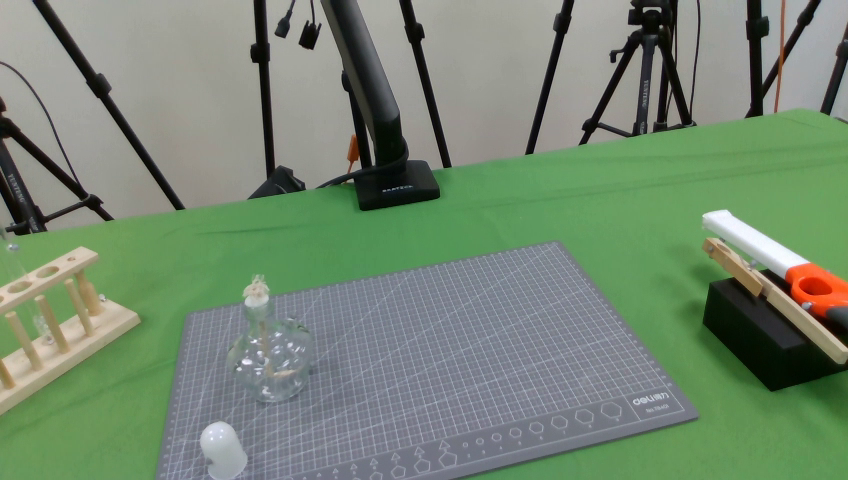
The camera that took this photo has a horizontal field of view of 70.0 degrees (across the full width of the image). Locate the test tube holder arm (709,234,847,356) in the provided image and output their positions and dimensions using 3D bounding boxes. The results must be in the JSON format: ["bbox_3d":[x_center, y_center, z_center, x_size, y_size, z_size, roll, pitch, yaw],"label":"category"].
[{"bbox_3d":[0.313,0.043,0.550,0.013,0.015,0.176,-6,31,-13],"label":"test tube holder arm"}]

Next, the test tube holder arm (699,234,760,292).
[{"bbox_3d":[0.297,0.021,0.586,0.010,0.015,0.087,-6,31,-12],"label":"test tube holder arm"}]

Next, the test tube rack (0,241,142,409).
[{"bbox_3d":[-0.416,0.102,0.597,0.066,0.086,0.242,16,38,30],"label":"test tube rack"}]

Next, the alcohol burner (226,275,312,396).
[{"bbox_3d":[-0.144,0.083,0.553,0.078,0.120,0.077,-4,30,3],"label":"alcohol burner"}]

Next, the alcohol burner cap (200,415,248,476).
[{"bbox_3d":[-0.166,0.164,0.495,0.034,0.048,0.033,-4,32,3],"label":"alcohol burner cap"}]

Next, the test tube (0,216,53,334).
[{"bbox_3d":[-0.408,0.033,0.611,0.017,0.151,0.017,-5,30,3],"label":"test tube"}]

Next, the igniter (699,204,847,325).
[{"bbox_3d":[0.350,0.031,0.558,0.057,0.025,0.273,-12,29,-8],"label":"igniter"}]
